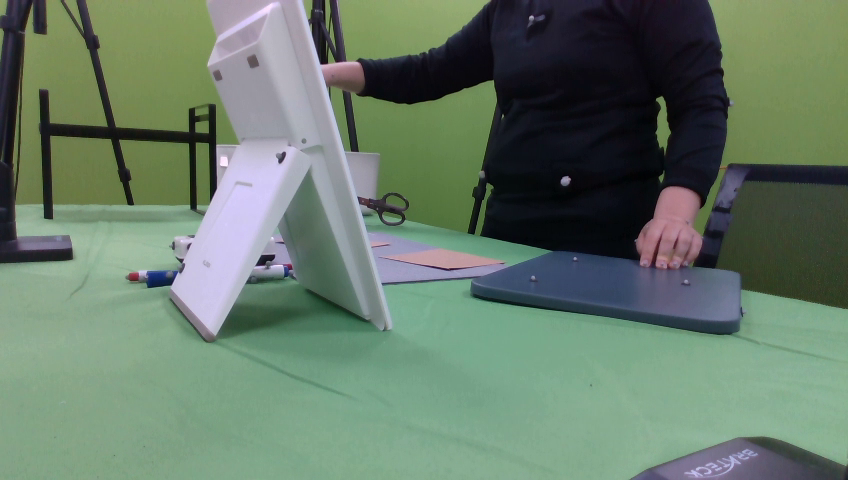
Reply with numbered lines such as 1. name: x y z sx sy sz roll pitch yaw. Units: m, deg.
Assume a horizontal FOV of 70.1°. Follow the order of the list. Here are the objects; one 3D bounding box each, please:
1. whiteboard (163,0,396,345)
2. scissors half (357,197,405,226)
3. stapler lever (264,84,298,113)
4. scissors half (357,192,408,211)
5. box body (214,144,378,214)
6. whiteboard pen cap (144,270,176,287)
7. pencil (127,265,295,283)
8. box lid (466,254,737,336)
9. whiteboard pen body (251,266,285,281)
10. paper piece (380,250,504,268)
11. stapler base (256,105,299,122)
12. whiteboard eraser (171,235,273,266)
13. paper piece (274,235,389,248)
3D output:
1. whiteboard: -0.173 -0.053 0.511 0.144 0.305 0.216 -23 19 -26
2. scissors half: -0.127 -0.070 1.320 0.175 0.040 0.013 21 -7 -5
3. stapler lever: -0.291 -0.289 1.239 0.027 0.040 0.118 17 4 10
4. scissors half: -0.123 -0.090 1.321 0.175 0.040 0.013 4 0 -6
5. box body: -0.328 -0.154 1.543 0.366 0.160 0.253 -2 9 -32
6. whiteboard pen cap: -0.271 0.039 0.627 0.033 0.018 0.018 -3 10 -33
7. pencil: -0.231 0.037 0.690 0.195 0.012 0.012 -2 9 -34
8. box lid: 0.233 0.055 0.735 0.262 0.015 0.373 7 7 27
9. whiteboard pen body: -0.220 0.039 0.656 0.141 0.017 0.017 -2 9 -31
10. paper piece: 0.025 0.027 0.865 0.134 0.004 0.136 8 8 43
11. stapler base: -0.297 -0.265 1.239 0.041 0.024 0.131 17 4 10
12. whiteboard eraser: -0.248 0.014 0.747 0.113 0.042 0.055 -1 10 -32
13. paper piece: -0.151 0.003 0.978 0.135 0.008 0.139 14 10 35
